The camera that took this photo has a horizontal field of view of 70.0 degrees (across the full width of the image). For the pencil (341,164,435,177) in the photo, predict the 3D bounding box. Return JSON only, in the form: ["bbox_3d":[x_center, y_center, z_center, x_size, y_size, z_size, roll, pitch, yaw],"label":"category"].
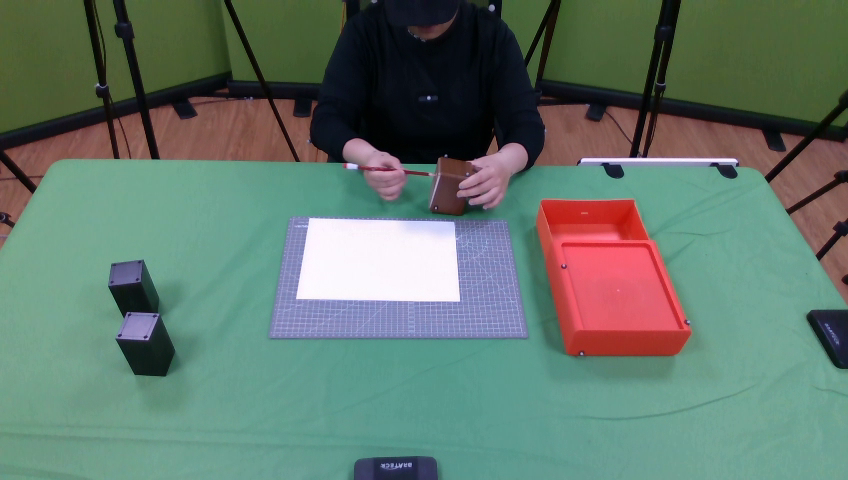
[{"bbox_3d":[-0.072,-0.139,1.219,0.194,0.012,0.012,6,45,1],"label":"pencil"}]

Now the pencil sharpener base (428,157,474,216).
[{"bbox_3d":[0.055,-0.107,1.243,0.077,0.107,0.061,10,45,-8],"label":"pencil sharpener base"}]

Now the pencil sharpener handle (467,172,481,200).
[{"bbox_3d":[0.108,-0.108,1.243,0.031,0.068,0.036,10,49,-8],"label":"pencil sharpener handle"}]

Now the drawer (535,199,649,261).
[{"bbox_3d":[0.332,0.015,1.169,0.195,0.073,0.210,0,46,-5],"label":"drawer"}]

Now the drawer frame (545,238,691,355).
[{"bbox_3d":[0.338,0.097,1.086,0.202,0.083,0.212,0,46,-4],"label":"drawer frame"}]
